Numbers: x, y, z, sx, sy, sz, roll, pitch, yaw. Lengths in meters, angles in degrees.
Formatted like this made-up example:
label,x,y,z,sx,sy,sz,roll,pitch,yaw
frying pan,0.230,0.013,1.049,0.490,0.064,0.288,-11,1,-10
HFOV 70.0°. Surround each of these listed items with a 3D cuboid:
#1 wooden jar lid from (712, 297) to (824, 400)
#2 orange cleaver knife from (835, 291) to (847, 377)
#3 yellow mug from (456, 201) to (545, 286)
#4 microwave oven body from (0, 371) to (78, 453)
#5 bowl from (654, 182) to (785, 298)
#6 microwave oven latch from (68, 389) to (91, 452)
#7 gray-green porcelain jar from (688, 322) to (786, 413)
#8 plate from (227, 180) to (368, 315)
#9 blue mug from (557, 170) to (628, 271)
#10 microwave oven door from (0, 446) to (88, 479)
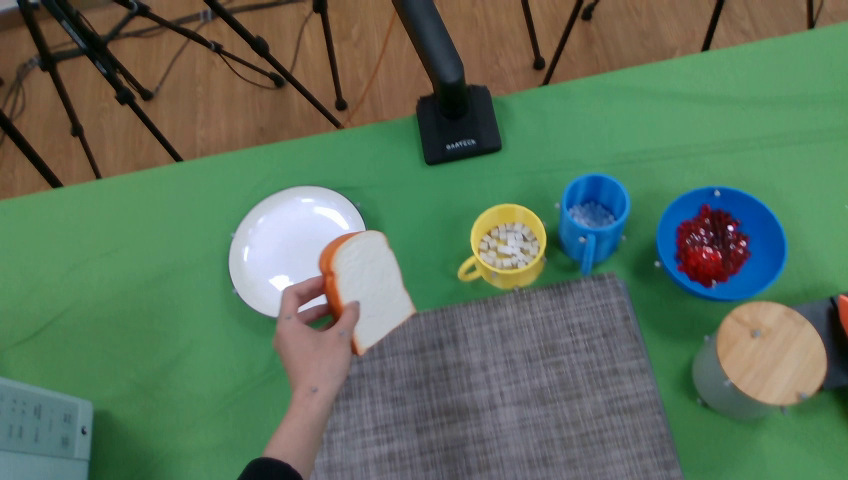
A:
label,x,y,z,sx,sy,sz,roll,pitch,yaw
wooden jar lid,0.357,0.114,0.635,0.108,0.021,0.107,-2,69,6
orange cleaver knife,0.503,0.162,0.685,0.012,0.077,0.211,-13,92,4
yellow mug,0.100,0.013,0.820,0.131,0.064,0.099,-31,66,-4
microwave oven body,-0.602,0.389,0.659,0.326,0.262,0.438,-10,67,4
bowl,0.365,0.011,0.773,0.151,0.077,0.150,-3,67,8
microwave oven latch,-0.467,0.241,0.806,0.030,0.030,0.078,-6,67,6
gray-green porcelain jar,0.367,0.139,0.692,0.106,0.127,0.105,-3,67,7
plate,-0.180,0.012,0.880,0.207,0.039,0.206,-3,67,7
blue mug,0.216,-0.016,0.793,0.082,0.107,0.116,8,69,12
microwave oven door,-0.455,0.399,0.626,0.039,0.246,0.353,-11,66,5
